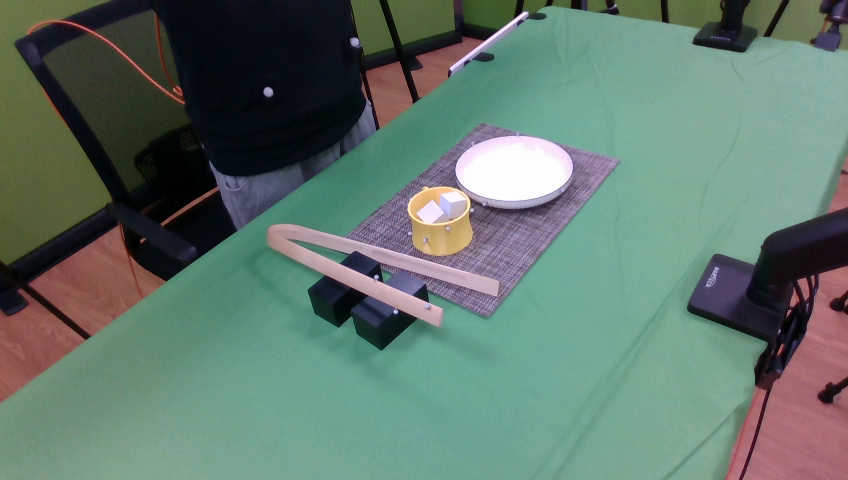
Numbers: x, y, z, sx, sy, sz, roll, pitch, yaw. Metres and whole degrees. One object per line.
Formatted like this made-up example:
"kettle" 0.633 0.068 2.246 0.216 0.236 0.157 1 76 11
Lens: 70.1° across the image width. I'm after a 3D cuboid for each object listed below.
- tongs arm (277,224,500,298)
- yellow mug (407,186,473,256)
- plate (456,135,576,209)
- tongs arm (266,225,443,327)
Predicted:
"tongs arm" -0.065 0.028 0.932 0.385 0.028 0.028 14 23 22
"yellow mug" 0.021 -0.041 0.973 0.100 0.064 0.129 -19 41 -12
"plate" 0.161 -0.116 1.064 0.207 0.039 0.206 -4 40 4
"tongs arm" -0.112 0.042 0.866 0.381 0.026 0.051 19 22 35
